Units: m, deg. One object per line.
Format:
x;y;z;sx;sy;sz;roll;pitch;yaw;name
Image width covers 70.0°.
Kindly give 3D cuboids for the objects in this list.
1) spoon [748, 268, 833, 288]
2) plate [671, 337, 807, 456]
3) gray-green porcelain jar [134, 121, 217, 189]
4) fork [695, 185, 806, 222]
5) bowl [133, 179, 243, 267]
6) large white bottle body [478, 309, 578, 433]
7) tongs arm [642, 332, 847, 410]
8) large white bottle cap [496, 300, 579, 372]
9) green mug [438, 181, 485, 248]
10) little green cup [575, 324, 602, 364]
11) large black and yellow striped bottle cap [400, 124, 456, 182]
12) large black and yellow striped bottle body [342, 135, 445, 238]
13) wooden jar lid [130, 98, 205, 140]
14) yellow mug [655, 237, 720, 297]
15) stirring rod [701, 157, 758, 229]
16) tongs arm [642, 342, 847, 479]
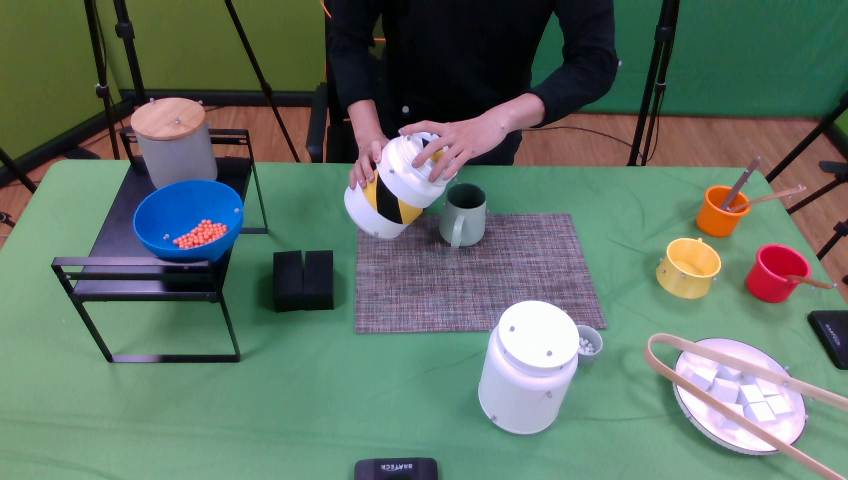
0.660;0.068;1.097;0.041;0.193;0.021;-4;91;-6;spoon
0.503;0.254;0.984;0.208;0.039;0.206;2;46;-2;plate
-0.397;-0.141;0.980;0.106;0.127;0.105;2;47;-2;gray-green porcelain jar
0.658;-0.074;1.229;0.207;0.019;0.028;-23;36;37;fork
-0.339;-0.013;0.895;0.151;0.077;0.150;2;46;-2;bowl
0.156;0.192;0.913;0.131;0.185;0.130;2;46;-2;large white bottle body
0.546;0.227;0.968;0.384;0.026;0.050;22;52;13;tongs arm
0.160;0.133;0.852;0.115;0.018;0.114;3;46;-3;large white bottle cap
0.071;-0.039;1.177;0.092;0.105;0.124;12;47;7;green mug
0.269;0.180;1.035;0.061;0.039;0.061;2;45;-2;little green cup
0.008;-0.151;1.040;0.115;0.019;0.114;30;38;-27;large black and yellow striped bottle cap
-0.046;-0.103;1.086;0.131;0.184;0.130;31;37;-26;large black and yellow striped bottle body
-0.393;-0.183;0.934;0.108;0.021;0.107;3;43;-2;wooden jar lid
0.509;0.041;1.167;0.099;0.064;0.130;24;48;18;yellow mug
0.634;-0.097;1.257;0.014;0.006;0.176;38;97;29;stirring rod
0.504;0.279;0.918;0.386;0.028;0.028;33;59;22;tongs arm
